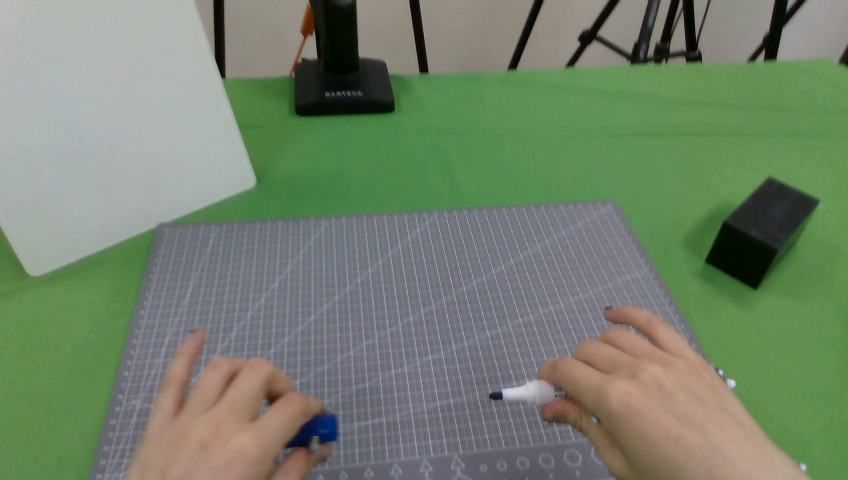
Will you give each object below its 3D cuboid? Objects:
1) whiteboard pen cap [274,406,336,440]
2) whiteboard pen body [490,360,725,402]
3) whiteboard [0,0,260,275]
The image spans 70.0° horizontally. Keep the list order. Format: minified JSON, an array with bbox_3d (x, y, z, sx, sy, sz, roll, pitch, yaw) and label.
[{"bbox_3d":[-0.068,0.104,0.347,0.033,0.018,0.018,-7,43,-3],"label":"whiteboard pen cap"},{"bbox_3d":[0.109,0.085,0.360,0.141,0.017,0.017,-4,43,-4],"label":"whiteboard pen body"},{"bbox_3d":[-0.317,-0.165,0.544,0.217,0.308,0.142,-29,32,-30],"label":"whiteboard"}]
